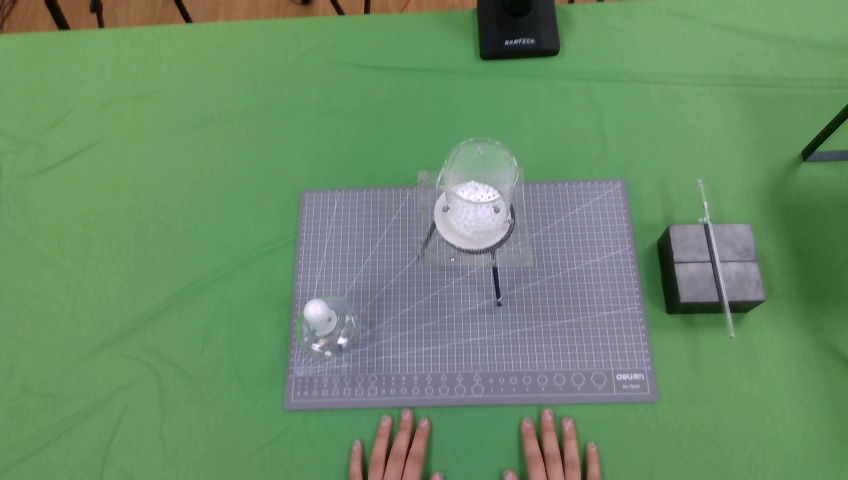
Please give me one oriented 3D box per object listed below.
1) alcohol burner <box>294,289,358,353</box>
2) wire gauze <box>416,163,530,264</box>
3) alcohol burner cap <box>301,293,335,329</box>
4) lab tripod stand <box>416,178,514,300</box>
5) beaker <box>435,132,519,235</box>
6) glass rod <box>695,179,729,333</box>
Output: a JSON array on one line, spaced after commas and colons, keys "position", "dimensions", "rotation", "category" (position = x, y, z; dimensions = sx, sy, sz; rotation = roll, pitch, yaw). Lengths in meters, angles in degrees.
[{"position": [-0.119, 0.091, 0.715], "dimensions": [0.078, 0.120, 0.077], "rotation": [0, 69, 2], "category": "alcohol burner"}, {"position": [0.053, -0.031, 0.676], "dimensions": [0.125, 0.011, 0.120], "rotation": [0, 69, 0], "category": "wire gauze"}, {"position": [-0.121, 0.078, 0.682], "dimensions": [0.034, 0.048, 0.033], "rotation": [-3, 63, 6], "category": "alcohol burner cap"}, {"position": [0.060, -0.010, 0.738], "dimensions": [0.148, 0.132, 0.147], "rotation": [-1, 66, 3], "category": "lab tripod stand"}, {"position": [0.053, -0.053, 0.633], "dimensions": [0.084, 0.101, 0.073], "rotation": [-17, 68, -4], "category": "beaker"}, {"position": [0.349, 0.015, 0.735], "dimensions": [0.008, 0.008, 0.198], "rotation": [-1, 69, 2], "category": "glass rod"}]
